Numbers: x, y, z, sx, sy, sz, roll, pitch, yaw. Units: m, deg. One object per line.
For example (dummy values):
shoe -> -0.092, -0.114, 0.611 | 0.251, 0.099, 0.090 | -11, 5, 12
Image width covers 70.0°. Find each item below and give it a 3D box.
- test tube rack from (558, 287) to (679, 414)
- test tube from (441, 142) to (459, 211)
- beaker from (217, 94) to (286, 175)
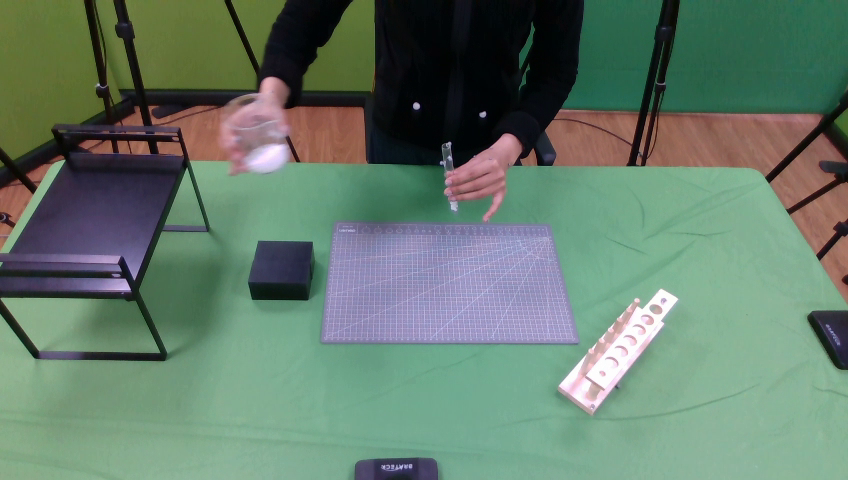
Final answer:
test tube rack -> 0.326, 0.170, 1.009 | 0.066, 0.085, 0.242 | 35, 54, 26
test tube -> 0.045, -0.106, 1.045 | 0.017, 0.151, 0.017 | -5, 47, 6
beaker -> -0.246, -0.151, 0.891 | 0.084, 0.101, 0.073 | 10, 55, 11
